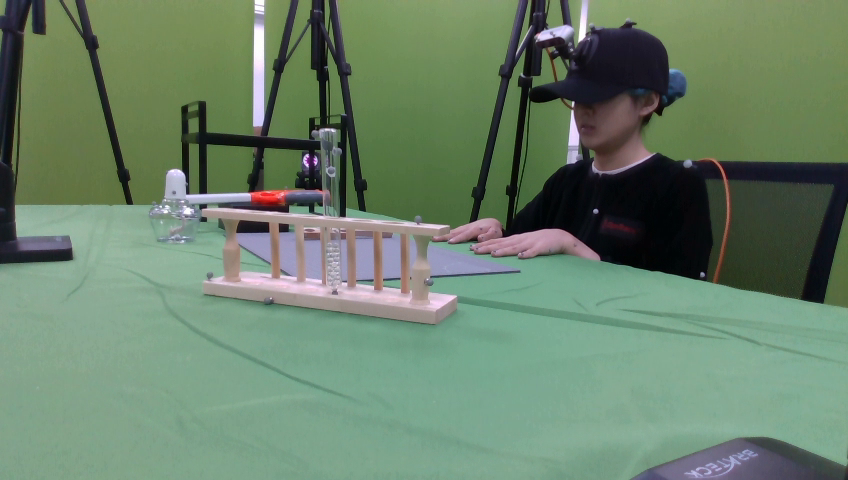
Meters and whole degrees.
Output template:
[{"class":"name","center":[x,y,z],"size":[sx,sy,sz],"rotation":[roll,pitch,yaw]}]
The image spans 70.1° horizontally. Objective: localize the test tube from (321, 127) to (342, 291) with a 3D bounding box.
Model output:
[{"class":"test tube","center":[-0.084,-0.027,0.554],"size":[0.017,0.150,0.017],"rotation":[-1,6,0]}]

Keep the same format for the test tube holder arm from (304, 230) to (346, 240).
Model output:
[{"class":"test tube holder arm","center":[-0.174,-0.009,1.027],"size":[0.088,0.015,0.010],"rotation":[0,43,-31]}]

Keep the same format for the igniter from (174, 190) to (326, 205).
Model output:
[{"class":"igniter","center":[-0.317,-0.079,1.132],"size":[0.278,0.025,0.057],"rotation":[-4,12,-32]}]

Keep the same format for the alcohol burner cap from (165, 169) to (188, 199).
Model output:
[{"class":"alcohol burner cap","center":[-0.386,-0.087,0.943],"size":[0.034,0.048,0.034],"rotation":[4,8,0]}]

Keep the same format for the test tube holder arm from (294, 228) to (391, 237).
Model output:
[{"class":"test tube holder arm","center":[-0.138,-0.013,1.054],"size":[0.179,0.015,0.013],"rotation":[-1,44,-32]}]

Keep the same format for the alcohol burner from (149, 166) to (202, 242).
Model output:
[{"class":"alcohol burner","center":[-0.388,-0.056,0.947],"size":[0.078,0.119,0.078],"rotation":[5,6,0]}]

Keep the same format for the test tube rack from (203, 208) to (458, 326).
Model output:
[{"class":"test tube rack","center":[-0.090,0.019,0.579],"size":[0.241,0.085,0.067],"rotation":[5,7,19]}]
